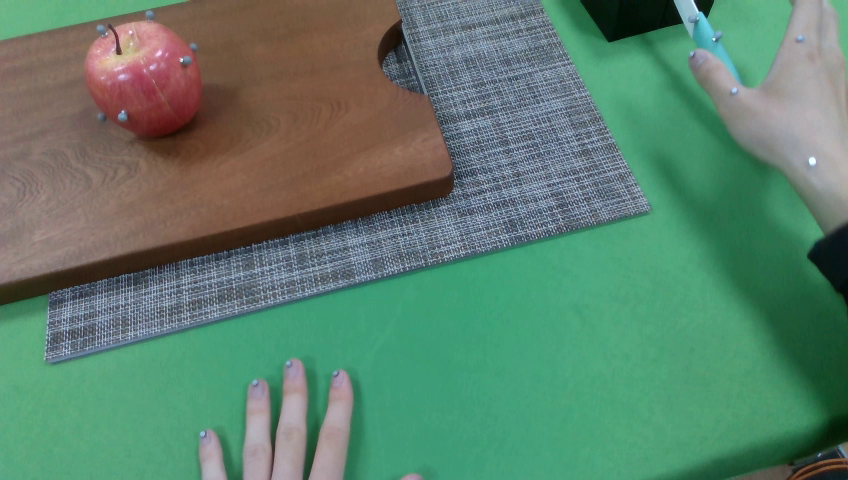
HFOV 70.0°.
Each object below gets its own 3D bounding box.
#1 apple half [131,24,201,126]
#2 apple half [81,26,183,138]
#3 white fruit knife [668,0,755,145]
[{"bbox_3d":[-0.192,-0.130,0.471,0.033,0.082,0.080,-25,61,-7],"label":"apple half"},{"bbox_3d":[-0.227,-0.115,0.464,0.053,0.075,0.080,-25,65,-6],"label":"apple half"},{"bbox_3d":[0.226,-0.175,0.507,0.016,0.027,0.206,-17,74,-7],"label":"white fruit knife"}]
